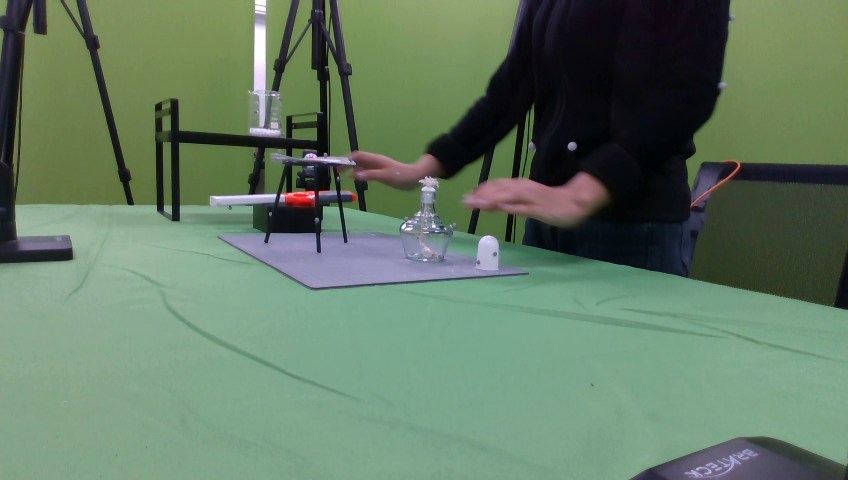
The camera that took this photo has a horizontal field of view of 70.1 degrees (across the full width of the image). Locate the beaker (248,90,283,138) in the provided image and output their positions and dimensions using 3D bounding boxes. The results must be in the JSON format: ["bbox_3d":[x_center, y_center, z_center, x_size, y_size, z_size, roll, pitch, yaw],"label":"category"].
[{"bbox_3d":[-0.354,-0.278,1.340,0.074,0.100,0.084,6,9,26],"label":"beaker"}]

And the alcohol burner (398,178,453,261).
[{"bbox_3d":[0.004,-0.029,0.860,0.078,0.119,0.078,4,6,0],"label":"alcohol burner"}]

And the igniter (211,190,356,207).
[{"bbox_3d":[-0.260,-0.080,1.152,0.278,0.025,0.057,-5,13,-34],"label":"igniter"}]

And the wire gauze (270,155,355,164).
[{"bbox_3d":[-0.174,-0.123,0.925,0.125,0.011,0.121,0,8,-12],"label":"wire gauze"}]

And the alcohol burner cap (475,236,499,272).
[{"bbox_3d":[0.084,0.018,0.799,0.034,0.048,0.034,2,7,0],"label":"alcohol burner cap"}]

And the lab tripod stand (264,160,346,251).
[{"bbox_3d":[-0.178,-0.057,0.930,0.148,0.131,0.148,1,8,0],"label":"lab tripod stand"}]
